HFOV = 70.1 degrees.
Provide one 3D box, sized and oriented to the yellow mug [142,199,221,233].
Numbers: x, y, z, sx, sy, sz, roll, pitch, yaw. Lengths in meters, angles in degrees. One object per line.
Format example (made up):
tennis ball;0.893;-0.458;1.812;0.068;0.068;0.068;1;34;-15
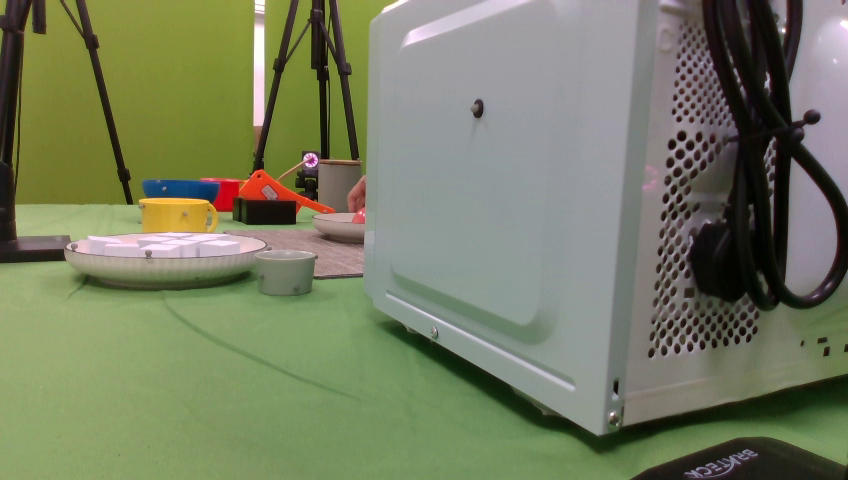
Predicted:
yellow mug;-0.372;-0.030;0.947;0.099;0.064;0.131;6;8;30

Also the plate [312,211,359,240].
plate;-0.091;-0.026;1.062;0.209;0.038;0.209;2;7;0

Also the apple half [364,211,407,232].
apple half;-0.068;-0.037;1.103;0.081;0.033;0.081;-1;11;1

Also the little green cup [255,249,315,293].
little green cup;-0.144;0.031;0.627;0.061;0.038;0.061;2;6;0

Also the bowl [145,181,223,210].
bowl;-0.499;-0.081;1.261;0.151;0.077;0.151;2;7;0

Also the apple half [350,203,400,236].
apple half;-0.081;-0.036;1.024;0.081;0.053;0.074;-2;11;-34

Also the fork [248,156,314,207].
fork;-0.360;-0.147;1.523;0.207;0.018;0.028;-43;16;-7

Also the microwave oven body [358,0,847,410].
microwave oven body;0.210;-0.051;0.471;0.444;0.260;0.324;-1;7;-28

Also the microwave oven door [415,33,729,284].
microwave oven door;0.169;-0.080;0.647;0.357;0.243;0.039;-1;8;-18

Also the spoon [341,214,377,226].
spoon;-0.132;-0.048;1.305;0.041;0.021;0.194;-14;4;14

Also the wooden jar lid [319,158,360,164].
wooden jar lid;-0.203;-0.189;1.482;0.108;0.020;0.108;2;10;0

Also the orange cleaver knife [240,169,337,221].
orange cleaver knife;-0.286;-0.082;1.298;0.212;0.077;0.012;25;-2;-31

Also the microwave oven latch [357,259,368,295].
microwave oven latch;-0.019;0.031;0.529;0.079;0.029;0.030;-1;7;-26

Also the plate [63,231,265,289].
plate;-0.288;0.021;0.687;0.208;0.039;0.207;2;8;0

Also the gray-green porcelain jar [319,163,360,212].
gray-green porcelain jar;-0.204;-0.126;1.489;0.106;0.126;0.106;2;7;0
